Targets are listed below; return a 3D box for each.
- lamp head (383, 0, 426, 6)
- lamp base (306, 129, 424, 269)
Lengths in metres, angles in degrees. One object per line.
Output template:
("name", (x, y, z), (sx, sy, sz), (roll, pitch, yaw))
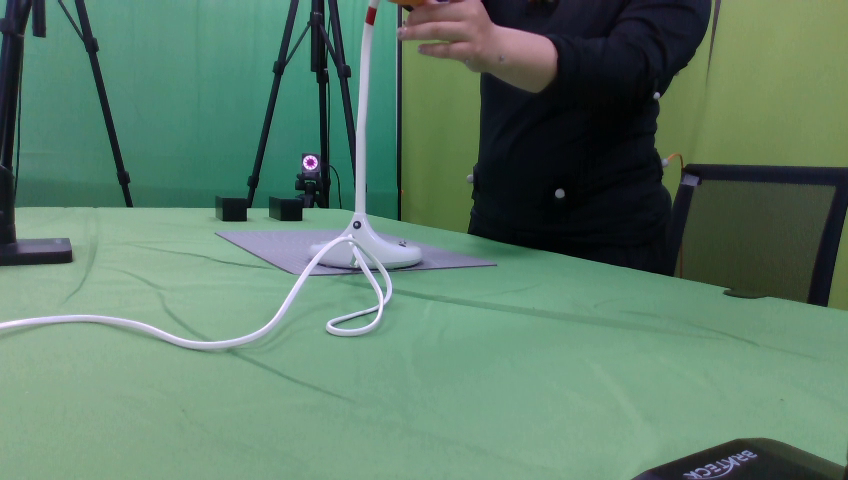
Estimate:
("lamp head", (-0.025, -0.325, 0.671), (0.112, 0.123, 0.112), (4, 3, 0))
("lamp base", (-0.077, -0.057, 0.810), (0.161, 0.180, 0.179), (2, 10, -4))
